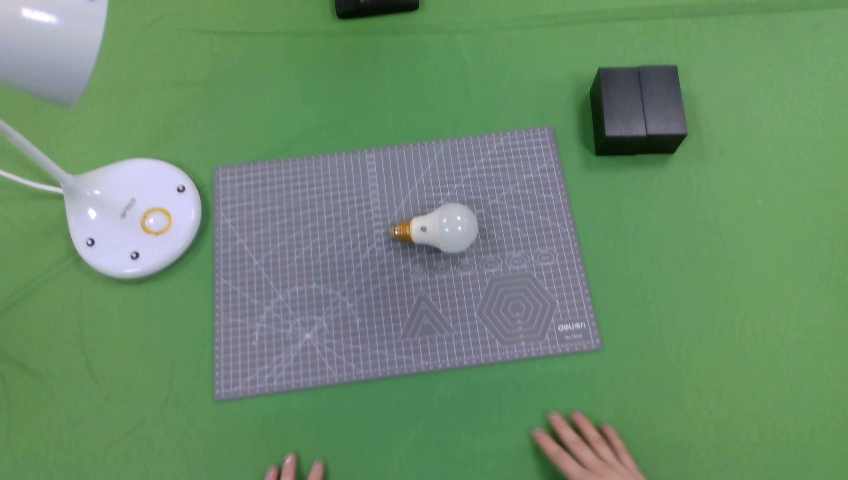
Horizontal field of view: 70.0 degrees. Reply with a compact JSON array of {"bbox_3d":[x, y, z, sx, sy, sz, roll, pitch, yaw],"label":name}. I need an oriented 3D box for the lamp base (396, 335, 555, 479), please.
[{"bbox_3d":[0.043,0.153,0.598,0.179,0.181,0.159,9,69,11],"label":"lamp base"}]

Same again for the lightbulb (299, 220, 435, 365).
[{"bbox_3d":[-0.035,0.033,0.287,0.060,0.108,0.059,14,54,-20],"label":"lightbulb"}]

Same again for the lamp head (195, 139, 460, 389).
[{"bbox_3d":[-0.057,0.025,0.304,0.113,0.123,0.111,18,59,-33],"label":"lamp head"}]
